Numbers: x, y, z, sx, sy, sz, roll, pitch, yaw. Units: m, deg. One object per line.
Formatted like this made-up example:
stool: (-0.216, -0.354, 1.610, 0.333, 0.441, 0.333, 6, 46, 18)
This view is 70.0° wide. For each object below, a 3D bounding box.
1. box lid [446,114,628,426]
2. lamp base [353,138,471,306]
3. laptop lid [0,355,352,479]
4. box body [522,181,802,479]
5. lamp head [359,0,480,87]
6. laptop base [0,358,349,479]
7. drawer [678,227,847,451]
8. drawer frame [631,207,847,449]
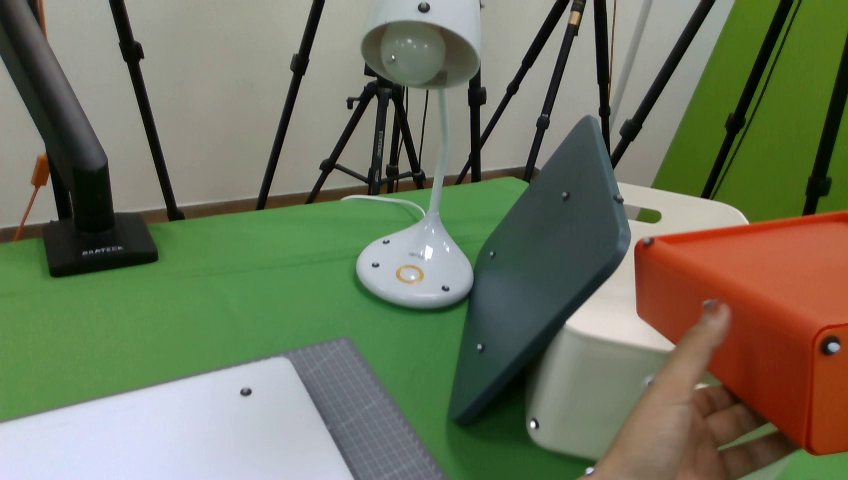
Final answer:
box lid: (0.118, 0.013, 0.680, 0.015, 0.264, 0.369, 32, 29, -7)
lamp base: (-0.003, -0.033, 0.788, 0.160, 0.181, 0.178, 11, 28, 2)
laptop lid: (-0.233, 0.201, 0.448, 0.358, 0.013, 0.239, -9, 37, -29)
box body: (0.247, 0.080, 0.689, 0.254, 0.161, 0.361, 11, 30, 3)
lamp head: (0.002, -0.220, 0.574, 0.112, 0.113, 0.122, 9, 70, -2)
laptop base: (-0.236, 0.210, 0.456, 0.356, 0.023, 0.233, -9, 39, -31)
drawer: (0.282, 0.044, 0.411, 0.195, 0.073, 0.210, -9, 12, -4)
drawer frame: (0.281, 0.042, 0.413, 0.202, 0.083, 0.212, -9, 12, -5)
